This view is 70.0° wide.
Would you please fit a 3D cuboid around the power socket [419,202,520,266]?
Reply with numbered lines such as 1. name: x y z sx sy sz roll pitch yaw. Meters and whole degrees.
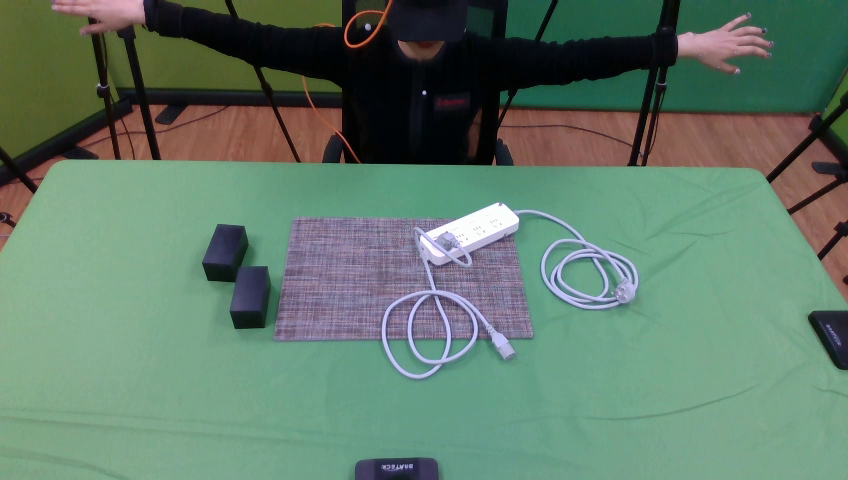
1. power socket: 0.093 -0.014 1.204 0.227 0.033 0.072 -23 52 -24

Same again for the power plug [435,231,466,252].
1. power plug: 0.047 0.015 1.141 0.035 0.053 0.072 -14 47 -17
